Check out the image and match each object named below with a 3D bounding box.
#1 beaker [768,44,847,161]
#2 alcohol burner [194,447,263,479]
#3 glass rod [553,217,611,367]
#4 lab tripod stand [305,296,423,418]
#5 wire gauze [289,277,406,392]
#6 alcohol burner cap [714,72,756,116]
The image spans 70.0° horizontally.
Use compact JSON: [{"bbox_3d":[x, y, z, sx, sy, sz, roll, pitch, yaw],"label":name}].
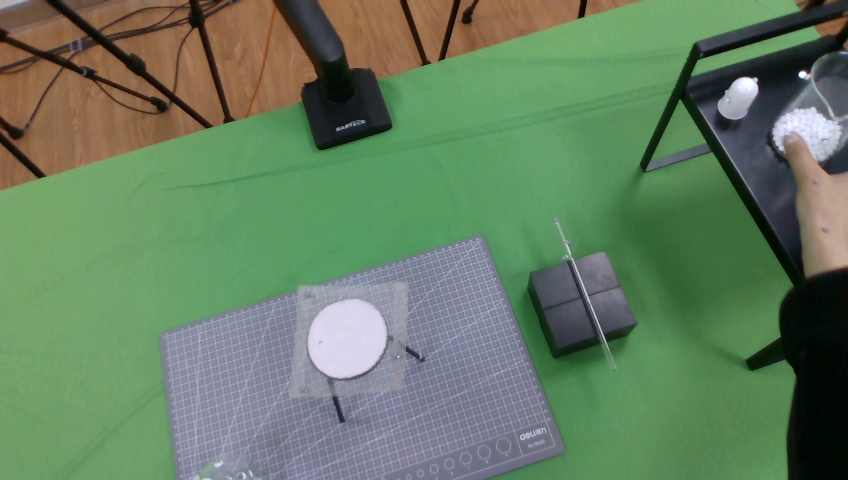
[{"bbox_3d":[0.403,-0.132,0.612,0.073,0.101,0.083,24,70,14],"label":"beaker"},{"bbox_3d":[-0.221,0.266,0.663,0.078,0.120,0.077,-1,67,3],"label":"alcohol burner"},{"bbox_3d":[0.191,0.059,0.737,0.008,0.008,0.198,-14,66,-2],"label":"glass rod"},{"bbox_3d":[-0.082,0.127,0.706,0.148,0.132,0.147,-2,66,5],"label":"lab tripod stand"},{"bbox_3d":[-0.081,0.098,0.645,0.121,0.011,0.124,-2,65,4],"label":"wire gauze"},{"bbox_3d":[0.342,-0.162,0.661,0.034,0.048,0.033,-1,64,3],"label":"alcohol burner cap"}]
